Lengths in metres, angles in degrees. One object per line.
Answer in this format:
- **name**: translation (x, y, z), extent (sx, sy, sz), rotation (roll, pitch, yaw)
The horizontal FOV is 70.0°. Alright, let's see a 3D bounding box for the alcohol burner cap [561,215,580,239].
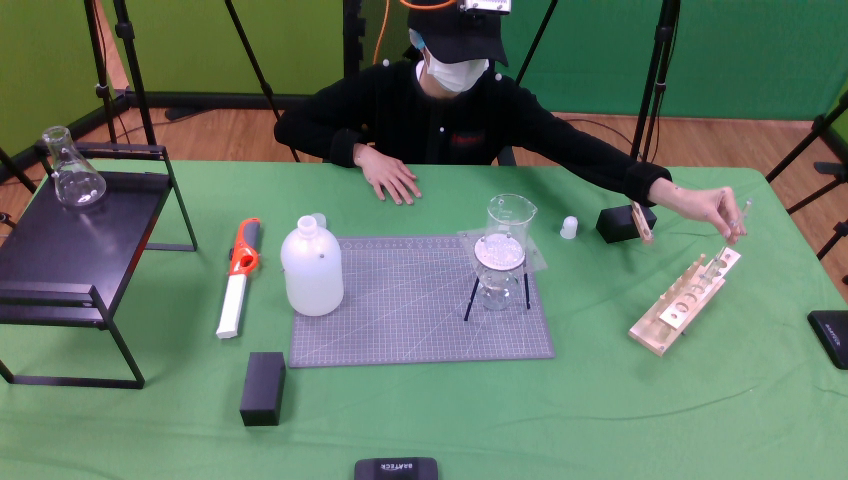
- **alcohol burner cap**: translation (0.299, -0.030, 1.231), extent (0.034, 0.048, 0.033), rotation (1, 46, -1)

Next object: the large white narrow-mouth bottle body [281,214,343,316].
- **large white narrow-mouth bottle body**: translation (-0.190, 0.035, 1.025), extent (0.102, 0.195, 0.101), rotation (2, 46, -2)

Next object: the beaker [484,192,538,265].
- **beaker**: translation (0.137, -0.016, 0.980), extent (0.084, 0.101, 0.073), rotation (-6, 45, -9)

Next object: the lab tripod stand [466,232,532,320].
- **lab tripod stand**: translation (0.125, 0.060, 1.065), extent (0.148, 0.132, 0.147), rotation (1, 45, 0)

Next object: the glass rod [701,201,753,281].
- **glass rod**: translation (0.498, 0.010, 1.007), extent (0.008, 0.200, 0.008), rotation (3, 46, -3)

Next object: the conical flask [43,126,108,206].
- **conical flask**: translation (-0.555, -0.119, 0.953), extent (0.075, 0.122, 0.075), rotation (2, 46, -2)

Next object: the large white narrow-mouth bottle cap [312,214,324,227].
- **large white narrow-mouth bottle cap**: translation (-0.219, -0.033, 1.214), extent (0.038, 0.024, 0.037), rotation (2, 46, -2)

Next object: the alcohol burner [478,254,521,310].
- **alcohol burner**: translation (0.134, 0.068, 1.071), extent (0.078, 0.120, 0.077), rotation (0, 47, 0)

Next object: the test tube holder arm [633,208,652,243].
- **test tube holder arm**: translation (0.428, -0.029, 1.189), extent (0.010, 0.015, 0.087), rotation (1, 47, -3)

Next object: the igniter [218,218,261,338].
- **igniter**: translation (-0.336, 0.060, 1.111), extent (0.057, 0.025, 0.274), rotation (-8, 46, 4)

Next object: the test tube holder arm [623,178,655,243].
- **test tube holder arm**: translation (0.432, -0.062, 1.220), extent (0.013, 0.015, 0.177), rotation (0, 47, -4)

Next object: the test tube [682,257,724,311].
- **test tube**: translation (0.475, 0.080, 1.037), extent (0.017, 0.151, 0.017), rotation (1, 51, -1)

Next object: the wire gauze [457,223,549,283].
- **wire gauze**: translation (0.131, 0.016, 1.017), extent (0.121, 0.011, 0.124), rotation (-10, 43, -15)

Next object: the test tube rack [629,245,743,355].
- **test tube rack**: translation (0.474, 0.095, 1.091), extent (0.242, 0.085, 0.066), rotation (-34, 56, -31)
